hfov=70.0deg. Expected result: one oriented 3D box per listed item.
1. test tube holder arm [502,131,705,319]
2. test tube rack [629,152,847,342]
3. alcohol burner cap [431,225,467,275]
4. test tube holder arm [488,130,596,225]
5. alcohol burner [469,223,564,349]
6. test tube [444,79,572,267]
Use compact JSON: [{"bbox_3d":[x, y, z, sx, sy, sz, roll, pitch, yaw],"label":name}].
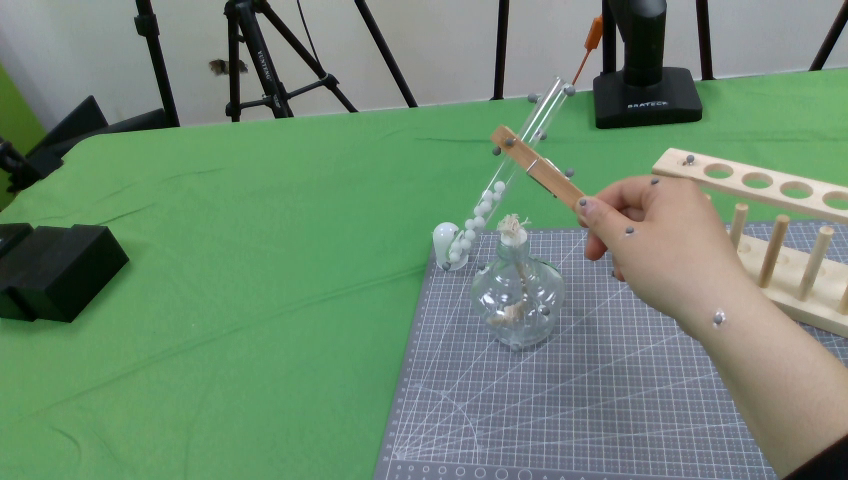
[{"bbox_3d":[0.114,-0.014,0.408,0.177,0.015,0.013,44,25,15],"label":"test tube holder arm"},{"bbox_3d":[0.289,0.009,0.470,0.240,0.086,0.066,23,51,36],"label":"test tube rack"},{"bbox_3d":[0.023,0.006,0.585,0.034,0.048,0.033,-7,41,6],"label":"alcohol burner cap"},{"bbox_3d":[0.080,-0.043,0.413,0.087,0.015,0.010,42,24,9],"label":"test tube holder arm"},{"bbox_3d":[0.072,0.032,0.483,0.078,0.120,0.077,-7,41,6],"label":"alcohol burner"},{"bbox_3d":[0.056,-0.044,0.427,0.017,0.150,0.017,29,16,-8],"label":"test tube"}]
